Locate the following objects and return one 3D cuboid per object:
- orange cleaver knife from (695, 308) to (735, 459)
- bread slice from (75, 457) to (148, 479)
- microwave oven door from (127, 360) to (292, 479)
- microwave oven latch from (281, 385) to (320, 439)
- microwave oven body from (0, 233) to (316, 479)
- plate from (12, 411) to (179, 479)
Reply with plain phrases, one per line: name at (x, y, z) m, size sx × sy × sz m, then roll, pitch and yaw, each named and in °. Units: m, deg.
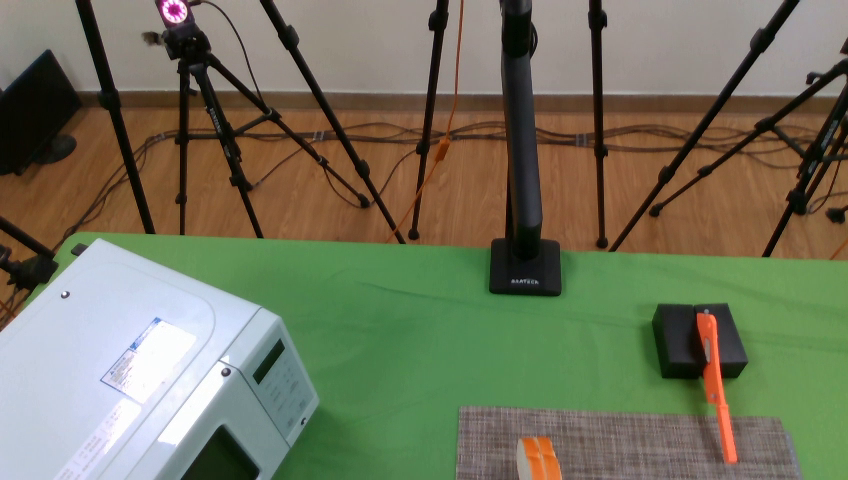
orange cleaver knife at (0.403, 0.194, 0.848) m, size 0.012 × 0.077 × 0.210 m, roll -3°, pitch 72°, yaw 6°
bread slice at (-0.412, 0.345, 0.756) m, size 0.134 × 0.018 × 0.106 m, roll -15°, pitch 50°, yaw -20°
microwave oven door at (-0.288, 0.333, 0.670) m, size 0.039 × 0.246 × 0.354 m, roll 19°, pitch 55°, yaw 20°
microwave oven latch at (-0.180, 0.242, 0.866) m, size 0.030 × 0.030 × 0.079 m, roll 21°, pitch 57°, yaw 20°
microwave oven body at (-0.399, 0.262, 0.744) m, size 0.324 × 0.262 × 0.439 m, roll 19°, pitch 56°, yaw 19°
plate at (-0.415, 0.321, 0.768) m, size 0.208 × 0.039 × 0.205 m, roll 0°, pitch 49°, yaw 0°
